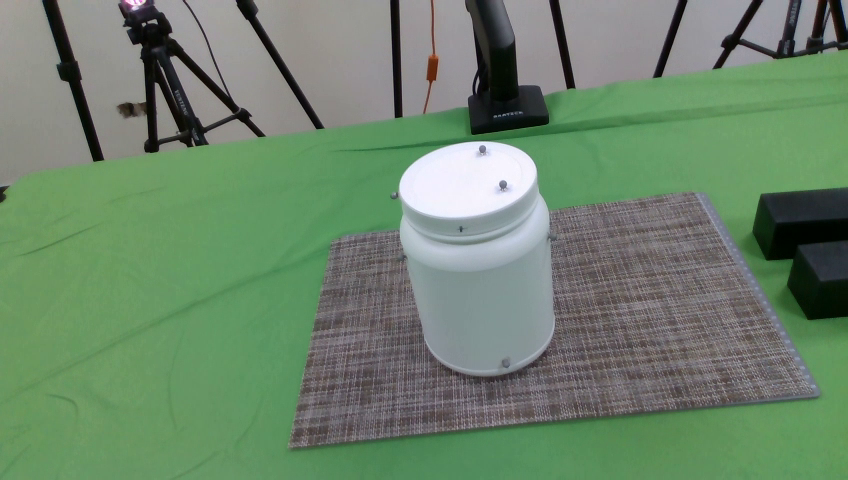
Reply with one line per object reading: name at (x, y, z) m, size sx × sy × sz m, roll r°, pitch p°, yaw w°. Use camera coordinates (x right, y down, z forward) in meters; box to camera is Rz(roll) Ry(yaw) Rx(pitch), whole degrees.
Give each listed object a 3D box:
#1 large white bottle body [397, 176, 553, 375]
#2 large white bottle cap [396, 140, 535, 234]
large white bottle body at (0.048, 0.018, 0.552) m, size 0.130 × 0.186 × 0.129 m, roll -7°, pitch 38°, yaw 6°
large white bottle cap at (0.033, -0.046, 0.498) m, size 0.115 × 0.018 × 0.113 m, roll -7°, pitch 38°, yaw 6°
